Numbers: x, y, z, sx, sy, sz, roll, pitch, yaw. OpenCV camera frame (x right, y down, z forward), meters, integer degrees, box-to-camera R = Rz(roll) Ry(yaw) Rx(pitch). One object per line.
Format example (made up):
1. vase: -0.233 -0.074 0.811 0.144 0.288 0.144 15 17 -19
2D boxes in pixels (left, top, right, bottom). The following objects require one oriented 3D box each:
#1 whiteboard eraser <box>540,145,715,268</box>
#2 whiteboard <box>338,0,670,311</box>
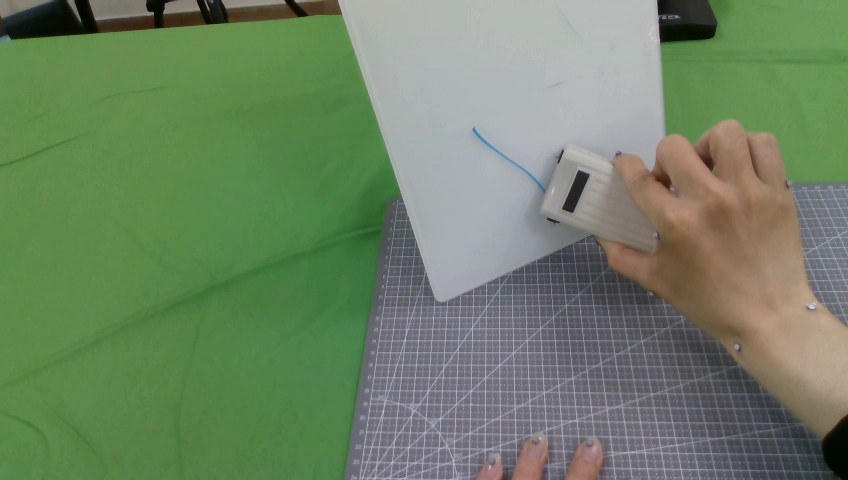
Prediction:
1. whiteboard eraser: 0.145 -0.025 0.441 0.112 0.056 0.041 22 23 7
2. whiteboard: 0.048 -0.141 0.464 0.217 0.308 0.142 -23 31 -9
